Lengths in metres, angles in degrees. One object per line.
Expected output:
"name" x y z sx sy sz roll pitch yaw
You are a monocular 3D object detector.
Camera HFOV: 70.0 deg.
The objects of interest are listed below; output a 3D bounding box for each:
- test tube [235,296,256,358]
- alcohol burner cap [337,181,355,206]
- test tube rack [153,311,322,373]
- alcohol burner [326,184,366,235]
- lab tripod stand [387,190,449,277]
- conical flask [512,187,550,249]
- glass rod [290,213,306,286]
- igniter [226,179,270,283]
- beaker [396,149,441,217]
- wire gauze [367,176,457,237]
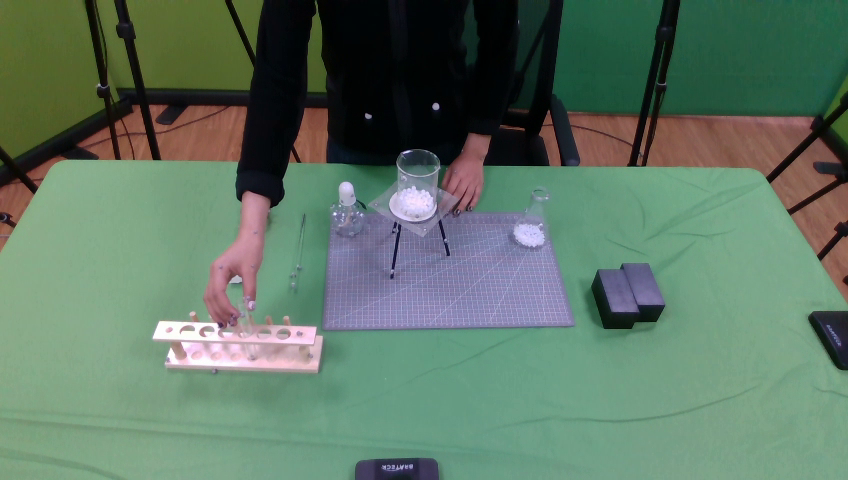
"test tube" -0.274 0.137 0.932 0.017 0.151 0.017 4 47 -4
"alcohol burner cap" -0.151 -0.090 1.157 0.034 0.048 0.033 0 52 0
"test tube rack" -0.293 0.160 0.978 0.242 0.085 0.066 3 46 -2
"alcohol burner" -0.152 -0.066 1.184 0.078 0.119 0.077 4 46 -4
"lab tripod stand" -0.021 -0.018 1.135 0.148 0.132 0.147 3 44 -3
"conical flask" 0.217 -0.048 1.190 0.075 0.122 0.075 2 46 -2
"glass rod" -0.244 0.015 1.175 0.008 0.008 0.198 1 43 -3
"igniter" -0.345 -0.027 1.195 0.057 0.025 0.274 -6 46 5
"beaker" -0.015 -0.098 1.053 0.074 0.101 0.083 -31 55 -30
"wire gauze" -0.020 -0.066 1.089 0.124 0.011 0.121 27 47 22
